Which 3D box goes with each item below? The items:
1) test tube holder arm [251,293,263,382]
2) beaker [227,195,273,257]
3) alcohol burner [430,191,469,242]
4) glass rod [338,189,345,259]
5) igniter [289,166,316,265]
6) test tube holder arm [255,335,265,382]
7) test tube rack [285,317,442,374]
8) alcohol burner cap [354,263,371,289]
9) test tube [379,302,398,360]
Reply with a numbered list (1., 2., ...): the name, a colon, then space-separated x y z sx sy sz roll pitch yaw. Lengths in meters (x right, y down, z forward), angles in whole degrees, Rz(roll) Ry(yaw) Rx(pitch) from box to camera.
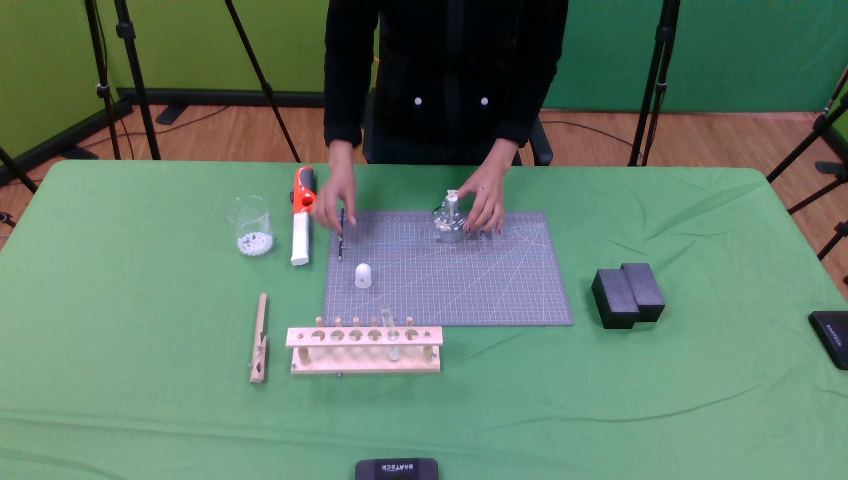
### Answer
1. test tube holder arm: -0.281 0.160 1.025 0.013 0.015 0.177 23 36 -32
2. beaker: -0.326 -0.022 1.142 0.074 0.101 0.083 10 47 6
3. alcohol burner: 0.051 -0.053 1.185 0.078 0.119 0.077 2 48 -2
4. glass rod: -0.166 -0.036 1.227 0.008 0.008 0.198 -1 47 -4
5. igniter: -0.248 -0.058 1.233 0.057 0.025 0.274 -9 47 1
6. test tube holder arm: -0.270 0.193 0.997 0.010 0.015 0.087 23 36 -32
7. test tube rack: -0.095 0.166 0.988 0.242 0.085 0.066 0 46 -4
8. alcohol burner cap: -0.113 0.063 1.111 0.034 0.048 0.033 2 46 -2
9. test tube: -0.054 0.145 0.943 0.017 0.151 0.017 -2 49 3
